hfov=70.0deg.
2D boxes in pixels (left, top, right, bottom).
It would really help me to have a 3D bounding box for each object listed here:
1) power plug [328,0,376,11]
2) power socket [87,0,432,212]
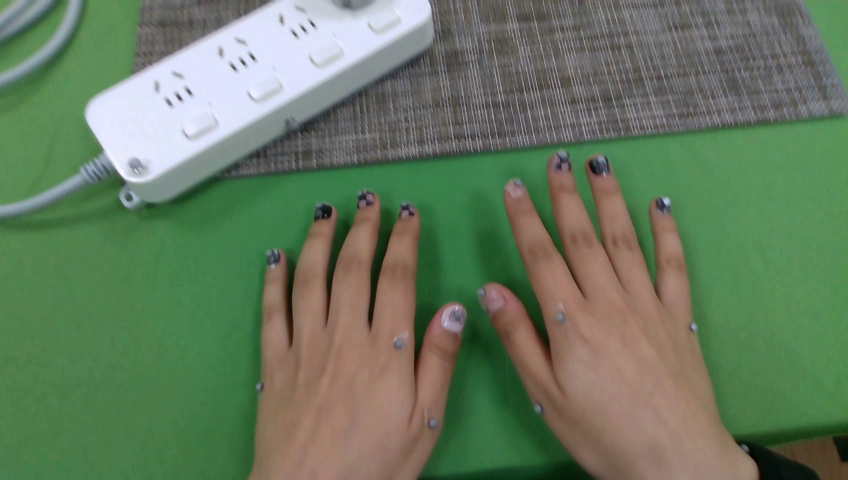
[{"bbox_3d":[-0.053,-0.173,0.377,0.035,0.053,0.072,-24,70,-9],"label":"power plug"},{"bbox_3d":[-0.094,-0.102,0.372,0.227,0.033,0.071,-35,71,-13],"label":"power socket"}]
